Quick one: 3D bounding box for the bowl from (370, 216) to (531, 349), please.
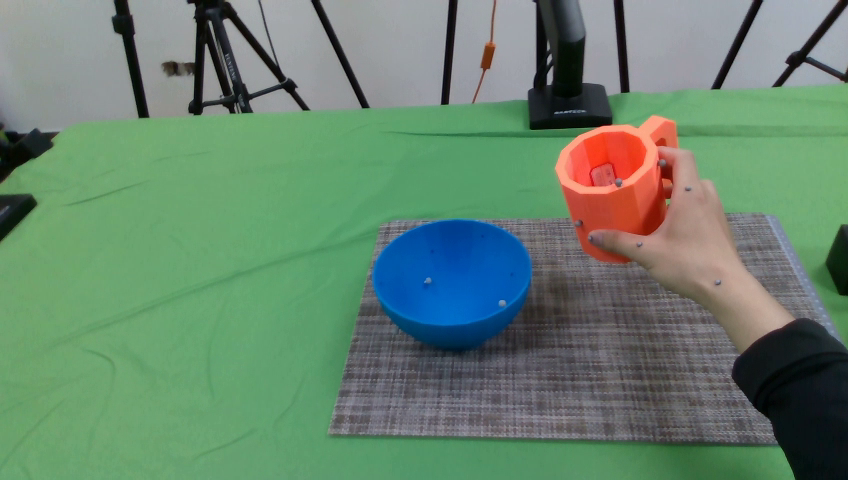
[{"bbox_3d":[0.028,0.052,0.587,0.151,0.077,0.150,-5,39,4],"label":"bowl"}]

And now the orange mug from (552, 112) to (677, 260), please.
[{"bbox_3d":[0.185,-0.057,0.562,0.126,0.102,0.082,-45,44,-7],"label":"orange mug"}]
